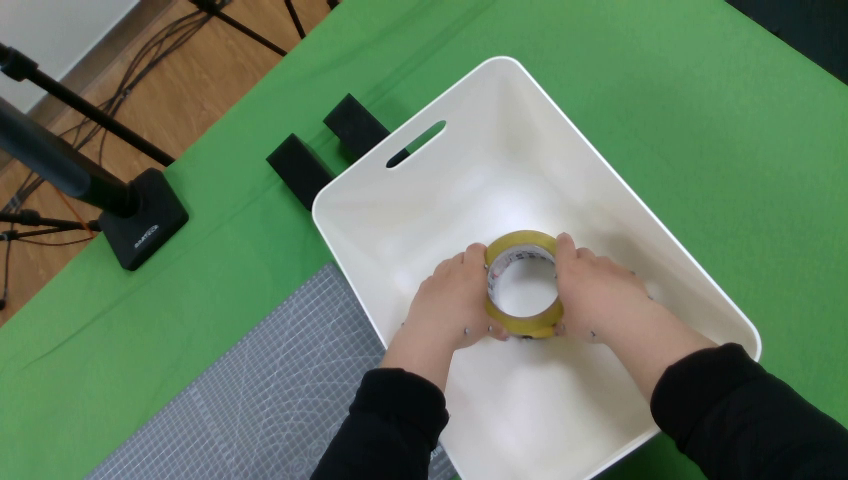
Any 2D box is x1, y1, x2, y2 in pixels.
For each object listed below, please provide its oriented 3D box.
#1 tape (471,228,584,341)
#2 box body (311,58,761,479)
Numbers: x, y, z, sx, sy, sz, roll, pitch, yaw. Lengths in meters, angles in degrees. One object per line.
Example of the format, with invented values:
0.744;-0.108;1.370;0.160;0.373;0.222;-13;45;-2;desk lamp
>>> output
0.109;0.048;0.649;0.116;0.053;0.116;-5;72;17;tape
0.093;0.044;0.602;0.254;0.162;0.361;-37;66;6;box body
